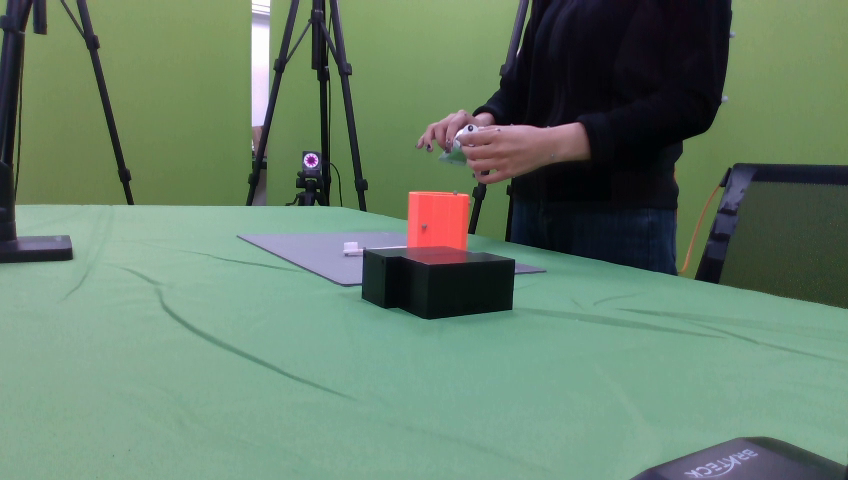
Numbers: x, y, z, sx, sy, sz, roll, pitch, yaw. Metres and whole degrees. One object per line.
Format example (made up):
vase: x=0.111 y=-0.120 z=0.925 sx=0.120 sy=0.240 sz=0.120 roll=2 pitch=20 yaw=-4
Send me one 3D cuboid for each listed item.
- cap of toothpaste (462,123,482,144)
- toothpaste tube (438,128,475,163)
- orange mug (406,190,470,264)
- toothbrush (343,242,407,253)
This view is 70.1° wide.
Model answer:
cap of toothpaste: x=0.078 y=-0.175 z=0.993 sx=0.037 sy=0.037 sz=0.011 roll=-2 pitch=8 yaw=-26
toothpaste tube: x=0.066 y=-0.164 z=1.076 sx=0.055 sy=0.034 sz=0.165 roll=16 pitch=-9 yaw=-6
orange mug: x=0.027 y=-0.023 z=0.866 sx=0.083 sy=0.101 sz=0.126 roll=6 pitch=12 yaw=24
toothbrush: x=-0.039 y=0.010 z=0.905 sx=0.183 sy=0.016 sz=0.014 roll=-1 pitch=-7 yaw=-35
